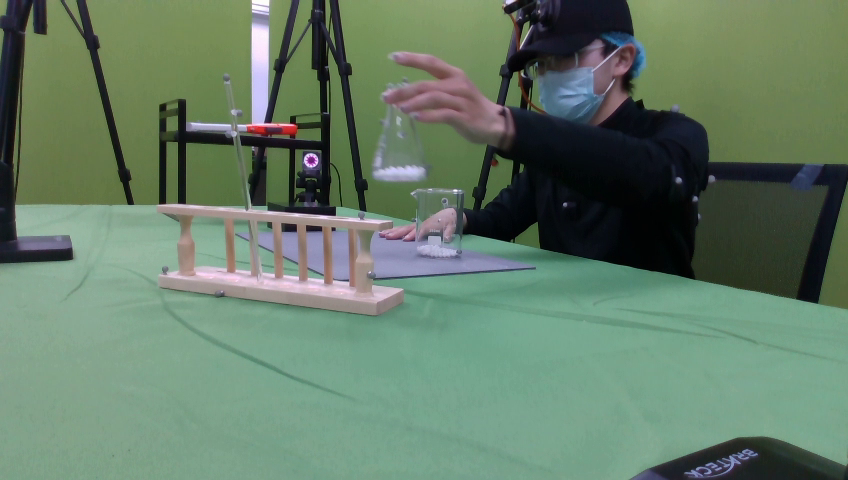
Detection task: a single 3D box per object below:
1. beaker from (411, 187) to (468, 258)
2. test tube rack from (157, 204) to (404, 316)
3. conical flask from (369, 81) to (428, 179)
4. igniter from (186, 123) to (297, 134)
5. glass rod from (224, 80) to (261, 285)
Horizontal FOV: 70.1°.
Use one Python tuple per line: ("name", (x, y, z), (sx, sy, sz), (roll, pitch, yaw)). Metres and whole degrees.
("beaker", (0.021, -0.027, 0.892), (0.084, 0.100, 0.074), (1, 7, -1))
("test tube rack", (-0.143, 0.013, 0.598), (0.242, 0.085, 0.067), (5, 8, 19))
("conical flask", (-0.033, -0.140, 0.776), (0.075, 0.122, 0.075), (0, 3, 0))
("igniter", (-0.393, -0.248, 1.341), (0.057, 0.025, 0.278), (9, 14, 38))
("glass rod", (-0.174, -0.052, 0.582), (0.008, 0.199, 0.008), (-7, 8, 1))
